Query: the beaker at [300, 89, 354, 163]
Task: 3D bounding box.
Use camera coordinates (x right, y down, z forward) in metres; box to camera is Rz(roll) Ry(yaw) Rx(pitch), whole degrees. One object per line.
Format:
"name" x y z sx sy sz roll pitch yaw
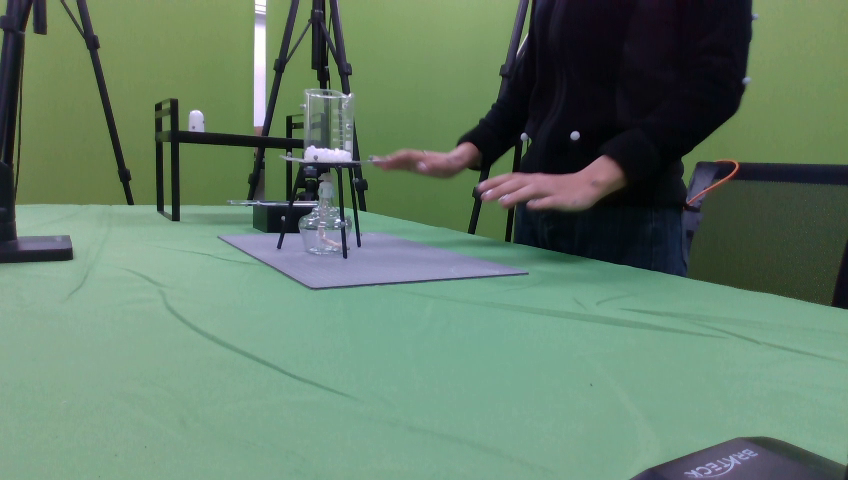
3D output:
"beaker" -0.137 -0.161 0.869 0.083 0.100 0.074 9 10 42

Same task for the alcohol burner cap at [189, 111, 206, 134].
"alcohol burner cap" -0.469 -0.244 1.252 0.034 0.048 0.034 2 7 0

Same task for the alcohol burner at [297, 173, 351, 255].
"alcohol burner" -0.144 -0.039 0.879 0.078 0.119 0.078 4 6 0

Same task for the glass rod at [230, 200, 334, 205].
"glass rod" -0.265 -0.071 1.144 0.201 0.008 0.008 -1 8 -31

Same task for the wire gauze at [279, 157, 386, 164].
"wire gauze" -0.134 -0.113 0.875 0.122 0.011 0.124 -1 6 -30

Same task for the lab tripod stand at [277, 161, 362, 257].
"lab tripod stand" -0.142 -0.049 0.884 0.148 0.131 0.148 1 9 0
